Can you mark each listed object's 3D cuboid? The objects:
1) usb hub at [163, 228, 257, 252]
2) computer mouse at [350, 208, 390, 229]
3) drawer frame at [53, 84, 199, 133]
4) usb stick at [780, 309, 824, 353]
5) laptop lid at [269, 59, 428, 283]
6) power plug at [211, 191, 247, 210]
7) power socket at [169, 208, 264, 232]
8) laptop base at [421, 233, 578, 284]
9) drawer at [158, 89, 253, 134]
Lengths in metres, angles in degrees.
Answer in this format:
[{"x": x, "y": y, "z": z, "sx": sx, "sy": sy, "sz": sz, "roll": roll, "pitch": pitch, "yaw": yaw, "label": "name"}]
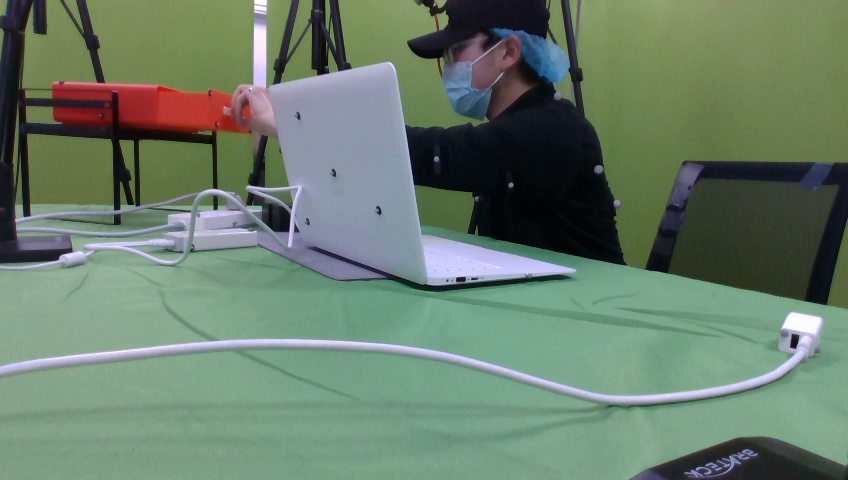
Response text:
[{"x": -0.314, "y": 0.000, "z": 0.894, "sx": 0.049, "sy": 0.025, "sz": 0.126, "roll": 9, "pitch": 10, "yaw": 41, "label": "usb hub"}, {"x": -0.111, "y": -0.045, "z": 1.232, "sx": 0.063, "sy": 0.041, "sz": 0.117, "roll": -4, "pitch": 2, "yaw": -18, "label": "computer mouse"}, {"x": -0.579, "y": -0.263, "z": 1.218, "sx": 0.213, "sy": 0.082, "sz": 0.202, "roll": 2, "pitch": 8, "yaw": 5, "label": "drawer frame"}, {"x": 0.311, "y": 0.072, "z": 0.496, "sx": 0.027, "sy": 0.021, "sz": 0.059, "roll": 7, "pitch": 15, "yaw": 34, "label": "usb stick"}, {"x": -0.110, "y": -0.087, "z": 0.752, "sx": 0.013, "sy": 0.241, "sz": 0.355, "roll": -18, "pitch": 19, "yaw": -30, "label": "laptop lid"}, {"x": -0.386, "y": -0.071, "z": 1.205, "sx": 0.072, "sy": 0.052, "sz": 0.035, "roll": 8, "pitch": 11, "yaw": 27, "label": "power plug"}, {"x": -0.380, "y": -0.038, "z": 1.128, "sx": 0.072, "sy": 0.032, "sz": 0.227, "roll": 4, "pitch": 8, "yaw": 17, "label": "power socket"}, {"x": 0.007, "y": 0.021, "z": 0.850, "sx": 0.237, "sy": 0.023, "sz": 0.352, "roll": 1, "pitch": 7, "yaw": -34, "label": "laptop base"}, {"x": -0.478, "y": -0.255, "z": 1.209, "sx": 0.211, "sy": 0.073, "sz": 0.194, "roll": 3, "pitch": 8, "yaw": 7, "label": "drawer"}]
